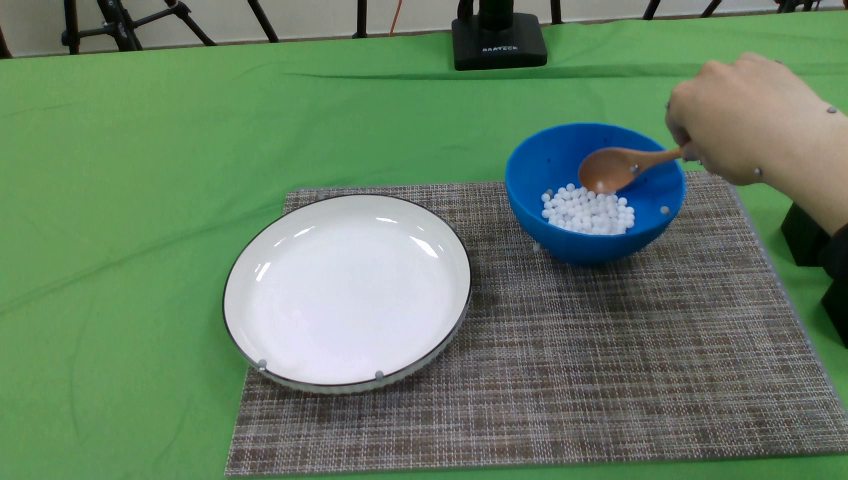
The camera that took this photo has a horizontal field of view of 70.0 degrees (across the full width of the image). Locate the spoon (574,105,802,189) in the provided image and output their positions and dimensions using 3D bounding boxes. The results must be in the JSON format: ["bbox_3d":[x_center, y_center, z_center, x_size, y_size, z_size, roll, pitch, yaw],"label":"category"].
[{"bbox_3d":[0.201,-0.073,0.492,0.021,0.042,0.193,-31,12,-32],"label":"spoon"}]

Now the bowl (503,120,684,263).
[{"bbox_3d":[0.144,-0.032,0.544,0.151,0.077,0.150,-2,47,2],"label":"bowl"}]

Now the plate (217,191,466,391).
[{"bbox_3d":[-0.067,0.041,0.519,0.207,0.039,0.205,-2,47,2],"label":"plate"}]
